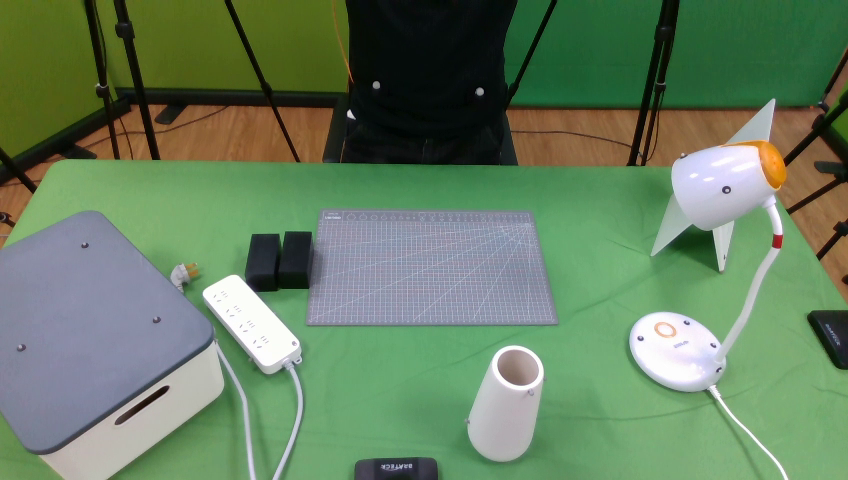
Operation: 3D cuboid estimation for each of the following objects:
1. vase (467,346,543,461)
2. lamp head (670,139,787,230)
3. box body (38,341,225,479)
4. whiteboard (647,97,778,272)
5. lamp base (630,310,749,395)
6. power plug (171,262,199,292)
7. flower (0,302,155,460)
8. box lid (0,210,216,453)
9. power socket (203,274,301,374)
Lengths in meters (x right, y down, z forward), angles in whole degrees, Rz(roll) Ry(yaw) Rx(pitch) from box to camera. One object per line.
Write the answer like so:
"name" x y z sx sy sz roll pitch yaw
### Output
"vase" 0.116 0.234 0.861 0.098 0.201 0.097 1 47 -1
"lamp head" 0.415 -0.079 0.812 0.113 0.123 0.112 13 70 -37
"box body" -0.506 0.155 0.916 0.362 0.161 0.254 35 54 26
"whiteboard" 0.602 -0.079 1.162 0.144 0.306 0.216 35 51 2
"lamp base" 0.447 0.142 0.984 0.161 0.181 0.178 -24 55 -24
"power plug" -0.428 0.075 1.100 0.053 0.035 0.072 -21 89 -23
"flower" -0.553 0.222 0.944 0.361 0.038 0.044 39 62 6
"box lid" -0.504 0.102 0.863 0.369 0.015 0.263 35 53 26
"power socket" -0.297 0.140 1.035 0.072 0.033 0.225 -32 57 -29
